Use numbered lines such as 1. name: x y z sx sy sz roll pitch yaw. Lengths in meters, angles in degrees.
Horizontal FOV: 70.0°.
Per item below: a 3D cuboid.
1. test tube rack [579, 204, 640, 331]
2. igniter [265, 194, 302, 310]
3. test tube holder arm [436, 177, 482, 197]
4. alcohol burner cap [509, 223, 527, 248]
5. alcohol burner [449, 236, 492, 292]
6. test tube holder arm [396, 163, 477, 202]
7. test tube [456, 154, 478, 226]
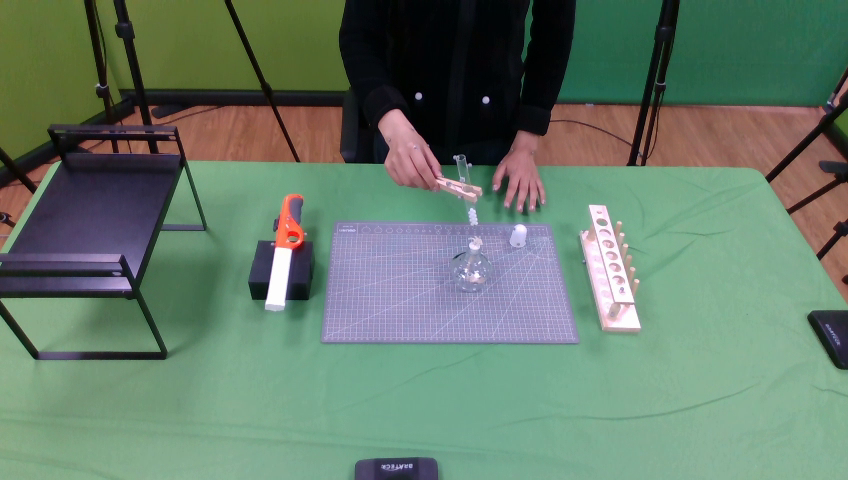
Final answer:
1. test tube rack: 0.353 0.047 1.137 0.067 0.085 0.241 2 46 -2
2. igniter: -0.253 0.012 1.099 0.057 0.025 0.274 9 46 -12
3. test tube holder arm: 0.056 -0.089 0.998 0.087 0.015 0.010 17 53 30
4. alcohol burner cap: 0.189 -0.011 1.206 0.034 0.048 0.033 2 45 -1
5. alcohol burner: 0.086 0.038 1.101 0.078 0.119 0.077 3 44 -2
6. test tube holder arm: 0.018 -0.099 1.020 0.177 0.015 0.013 25 56 35
7. test tube: 0.071 -0.077 0.986 0.017 0.151 0.017 -8 45 8
